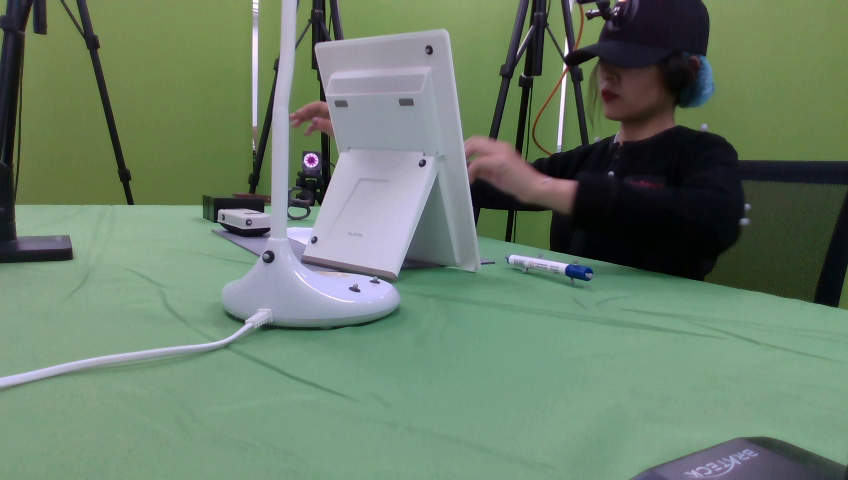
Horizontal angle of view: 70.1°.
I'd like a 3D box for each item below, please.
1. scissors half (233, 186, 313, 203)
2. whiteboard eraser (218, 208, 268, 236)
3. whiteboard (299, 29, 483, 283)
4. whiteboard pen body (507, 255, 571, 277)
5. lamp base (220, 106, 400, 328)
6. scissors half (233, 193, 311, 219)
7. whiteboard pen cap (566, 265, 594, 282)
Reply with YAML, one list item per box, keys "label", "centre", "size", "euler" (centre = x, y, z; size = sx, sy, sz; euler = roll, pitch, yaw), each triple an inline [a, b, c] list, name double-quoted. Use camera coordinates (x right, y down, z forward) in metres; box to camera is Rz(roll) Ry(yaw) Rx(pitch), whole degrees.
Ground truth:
- label: "scissors half"
  centre: [-0.326, -0.098, 1.315]
  size: [0.176, 0.040, 0.012]
  euler: [-5, 20, -29]
- label: "whiteboard eraser"
  centre: [-0.309, -0.031, 1.044]
  size: [0.056, 0.042, 0.112]
  euler: [-2, 9, -40]
- label: "whiteboard"
  centre: [-0.074, -0.082, 0.742]
  size: [0.216, 0.305, 0.144]
  euler: [9, 29, 38]
- label: "whiteboard pen body"
  centre: [0.155, 0.034, 0.772]
  size: [0.017, 0.017, 0.140]
  euler: [-2, 7, -31]
- label: "lamp base"
  centre: [-0.101, -0.023, 0.531]
  size: [0.160, 0.180, 0.179]
  euler: [4, 10, 10]
- label: "scissors half"
  centre: [-0.330, -0.078, 1.319]
  size: [0.176, 0.040, 0.013]
  euler: [16, 3, -33]
- label: "whiteboard pen cap"
  centre: [0.185, 0.040, 0.722]
  size: [0.018, 0.018, 0.033]
  euler: [-3, 7, -33]
